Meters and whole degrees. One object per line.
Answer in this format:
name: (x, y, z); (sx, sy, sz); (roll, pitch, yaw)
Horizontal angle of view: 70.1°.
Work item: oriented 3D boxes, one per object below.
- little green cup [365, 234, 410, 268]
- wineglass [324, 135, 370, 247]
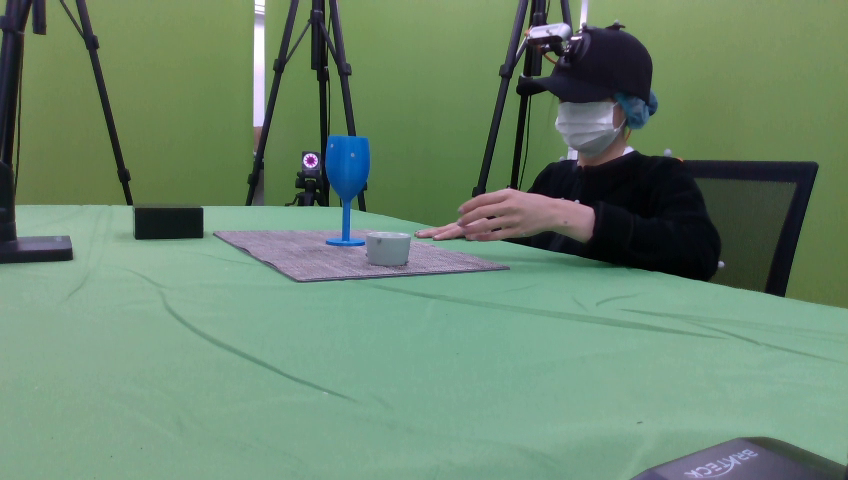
little green cup: (-0.048, 0.014, 0.802); (0.061, 0.038, 0.061); (2, 8, 0)
wineglass: (-0.124, -0.079, 0.965); (0.074, 0.172, 0.073); (3, 7, 0)
